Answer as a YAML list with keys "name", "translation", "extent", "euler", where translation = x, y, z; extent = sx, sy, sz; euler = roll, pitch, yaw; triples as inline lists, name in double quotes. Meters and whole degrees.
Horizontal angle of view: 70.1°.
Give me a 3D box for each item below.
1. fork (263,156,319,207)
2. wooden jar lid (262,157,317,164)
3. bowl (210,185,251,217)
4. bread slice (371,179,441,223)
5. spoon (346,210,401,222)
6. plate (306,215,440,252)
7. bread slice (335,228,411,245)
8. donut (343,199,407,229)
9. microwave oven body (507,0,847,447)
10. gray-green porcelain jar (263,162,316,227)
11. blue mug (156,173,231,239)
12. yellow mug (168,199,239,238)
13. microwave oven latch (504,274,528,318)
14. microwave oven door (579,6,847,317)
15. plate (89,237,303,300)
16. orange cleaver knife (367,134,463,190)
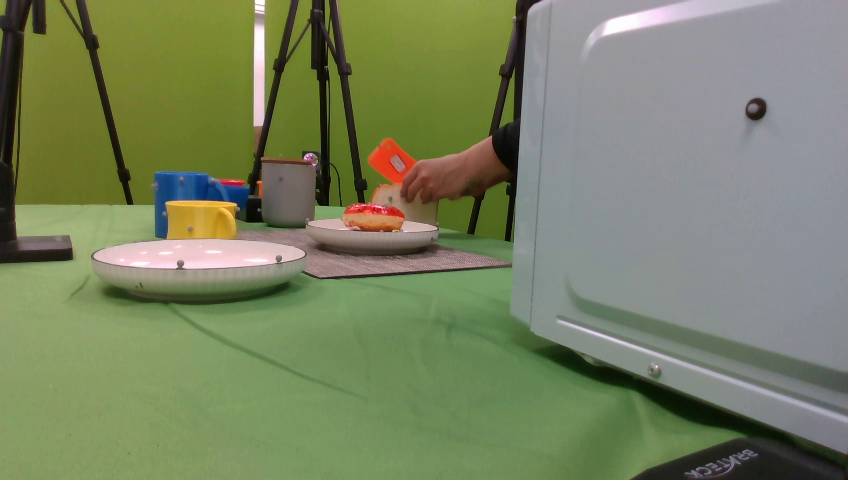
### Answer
- name: "fork"
  translation: [-0.331, -0.144, 1.506]
  extent: [0.207, 0.018, 0.028]
  euler: [-42, -21, 22]
- name: "wooden jar lid"
  translation: [-0.269, -0.154, 1.208]
  extent: [0.108, 0.020, 0.108]
  euler: [3, 4, 0]
- name: "bowl"
  translation: [-0.408, -0.064, 1.155]
  extent: [0.151, 0.077, 0.151]
  euler: [2, 8, 0]
- name: "bread slice"
  translation: [-0.034, -0.061, 1.133]
  extent: [0.135, 0.107, 0.018]
  euler: [-3, 12, -17]
- name: "spoon"
  translation: [-0.121, -0.060, 1.400]
  extent: [0.042, 0.021, 0.192]
  euler: [-28, 25, -37]
- name: "plate"
  translation: [-0.080, -0.011, 0.949]
  extent: [0.209, 0.038, 0.209]
  euler: [2, 8, 0]
- name: "bread slice"
  translation: [-0.075, -0.006, 0.937]
  extent: [0.105, 0.019, 0.131]
  euler: [-2, 5, -19]
- name: "donut"
  translation: [-0.077, -0.039, 0.948]
  extent: [0.099, 0.048, 0.099]
  euler: [2, 4, 0]
- name: "microwave oven body"
  translation: [0.331, -0.042, 0.425]
  extent: [0.444, 0.260, 0.324]
  euler: [-2, 8, -31]
- name: "gray-green porcelain jar"
  translation: [-0.271, -0.092, 1.217]
  extent: [0.106, 0.126, 0.106]
  euler: [2, 7, 0]
- name: "blue mug"
  translation: [-0.381, -0.057, 1.004]
  extent: [0.117, 0.106, 0.082]
  euler: [0, 8, -12]
- name: "yellow mug"
  translation: [-0.320, -0.023, 0.904]
  extent: [0.130, 0.064, 0.100]
  euler: [9, 11, 36]
- name: "microwave oven latch"
  translation: [0.100, 0.041, 0.471]
  extent: [0.079, 0.029, 0.030]
  euler: [-1, 8, -28]
- name: "microwave oven door"
  translation: [0.294, -0.067, 0.570]
  extent: [0.358, 0.243, 0.039]
  euler: [-3, 9, -31]
- name: "plate"
  translation: [-0.233, 0.029, 0.637]
  extent: [0.208, 0.039, 0.207]
  euler: [2, 7, 0]
- name: "orange cleaver knife"
  translation: [-0.016, -0.138, 1.212]
  extent: [0.212, 0.077, 0.012]
  euler: [28, -10, -24]
